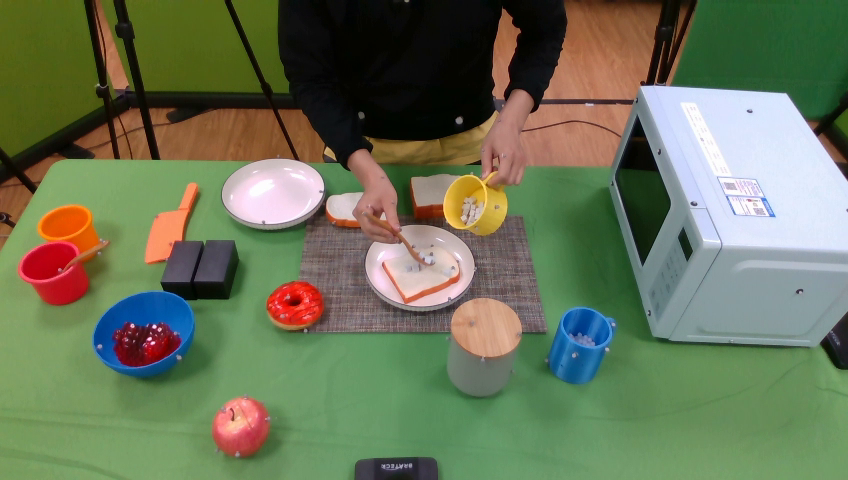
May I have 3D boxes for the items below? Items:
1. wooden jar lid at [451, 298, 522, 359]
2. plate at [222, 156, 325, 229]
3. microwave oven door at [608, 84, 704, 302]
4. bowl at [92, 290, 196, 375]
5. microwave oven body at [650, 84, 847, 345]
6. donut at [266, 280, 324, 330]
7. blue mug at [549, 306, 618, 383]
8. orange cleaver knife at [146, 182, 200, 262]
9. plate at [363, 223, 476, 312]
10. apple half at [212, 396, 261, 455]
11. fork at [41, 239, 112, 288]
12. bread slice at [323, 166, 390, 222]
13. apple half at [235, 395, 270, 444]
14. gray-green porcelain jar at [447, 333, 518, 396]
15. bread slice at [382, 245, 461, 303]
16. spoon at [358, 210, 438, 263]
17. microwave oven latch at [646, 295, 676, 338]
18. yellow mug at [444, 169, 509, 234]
[{"bbox_3d":[0.093,0.135,0.914,0.108,0.021,0.107,3,48,-3],"label":"wooden jar lid"},{"bbox_3d":[-0.308,-0.094,1.251,0.209,0.038,0.208,2,46,-2],"label":"plate"},{"bbox_3d":[0.424,-0.096,1.138,0.039,0.245,0.353,2,47,-1],"label":"microwave oven door"},{"bbox_3d":[-0.436,0.161,0.971,0.151,0.077,0.150,2,46,-2],"label":"bowl"},{"bbox_3d":[0.569,-0.054,1.116,0.326,0.261,0.439,2,46,-1],"label":"microwave oven body"},{"bbox_3d":[-0.223,0.113,1.051,0.099,0.048,0.098,2,45,-2],"label":"donut"},{"bbox_3d":[0.269,0.167,0.997,0.116,0.106,0.082,-19,51,-21],"label":"blue mug"},{"bbox_3d":[-0.494,-0.039,1.198,0.077,0.012,0.210,-3,48,2],"label":"orange cleaver knife"},{"bbox_3d":[-0.009,0.054,1.126,0.208,0.039,0.206,2,46,-2],"label":"plate"},{"bbox_3d":[-0.276,0.276,0.877,0.053,0.075,0.080,-29,58,-21],"label":"apple half"},{"bbox_3d":[-0.591,0.040,1.028,0.207,0.019,0.028,-27,36,29],"label":"fork"},{"bbox_3d":[-0.140,-0.091,1.224,0.134,0.018,0.106,-19,51,6],"label":"bread slice"},{"bbox_3d":[-0.245,0.259,0.893,0.033,0.082,0.081,-29,55,-22],"label":"apple half"},{"bbox_3d":[0.091,0.178,0.960,0.106,0.127,0.105,2,46,-2],"label":"gray-green porcelain jar"},{"bbox_3d":[0.001,0.054,1.129,0.131,0.019,0.104,-21,51,-20],"label":"bread slice"},{"bbox_3d":[-0.043,-0.006,1.043,0.021,0.195,0.041,-47,39,6],"label":"spoon"},{"bbox_3d":[0.413,0.133,1.060,0.030,0.029,0.078,4,46,1],"label":"microwave oven latch"},{"bbox_3d":[0.102,-0.076,1.086,0.064,0.131,0.099,15,32,-47],"label":"yellow mug"}]
